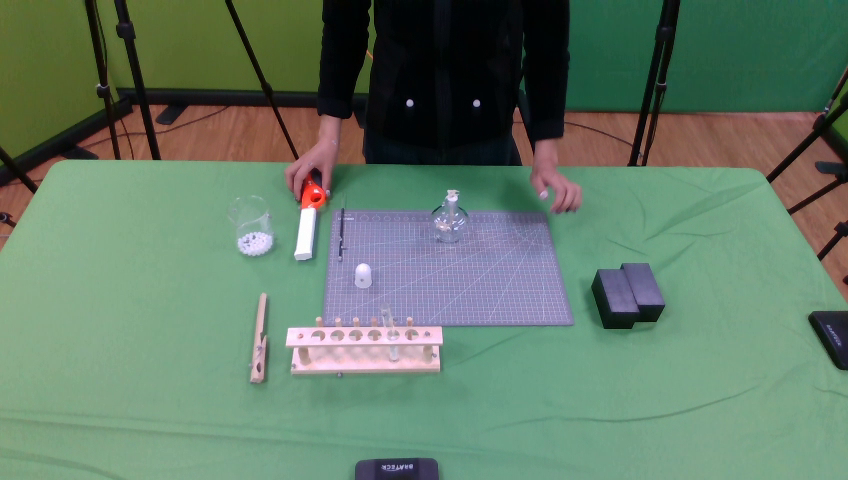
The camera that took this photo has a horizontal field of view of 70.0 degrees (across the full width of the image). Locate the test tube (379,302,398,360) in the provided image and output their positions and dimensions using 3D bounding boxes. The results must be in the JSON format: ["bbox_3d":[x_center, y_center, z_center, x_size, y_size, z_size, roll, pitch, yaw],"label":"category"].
[{"bbox_3d":[-0.054,0.145,0.943,0.017,0.151,0.017,-2,49,3],"label":"test tube"}]

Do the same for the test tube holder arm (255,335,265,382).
[{"bbox_3d":[-0.270,0.193,0.997,0.010,0.015,0.087,24,36,-32],"label":"test tube holder arm"}]

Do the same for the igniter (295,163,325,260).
[{"bbox_3d":[-0.234,-0.068,1.243,0.057,0.025,0.274,-6,46,4],"label":"igniter"}]

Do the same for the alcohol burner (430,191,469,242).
[{"bbox_3d":[0.051,-0.053,1.185,0.078,0.119,0.077,2,48,-2],"label":"alcohol burner"}]

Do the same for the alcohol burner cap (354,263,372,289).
[{"bbox_3d":[-0.113,0.063,1.111,0.034,0.048,0.033,2,46,-2],"label":"alcohol burner cap"}]

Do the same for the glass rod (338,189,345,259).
[{"bbox_3d":[-0.166,-0.036,1.227,0.008,0.008,0.198,-1,46,-4],"label":"glass rod"}]

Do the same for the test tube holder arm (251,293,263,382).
[{"bbox_3d":[-0.281,0.160,1.025,0.013,0.015,0.177,23,36,-32],"label":"test tube holder arm"}]

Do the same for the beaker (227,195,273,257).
[{"bbox_3d":[-0.326,-0.022,1.142,0.074,0.101,0.083,10,47,6],"label":"beaker"}]

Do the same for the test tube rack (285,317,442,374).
[{"bbox_3d":[-0.095,0.166,0.988,0.242,0.085,0.066,0,46,-4],"label":"test tube rack"}]
